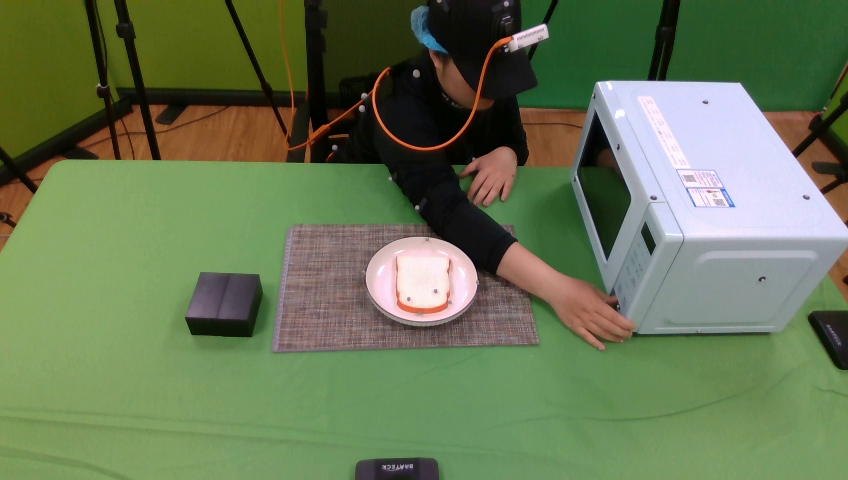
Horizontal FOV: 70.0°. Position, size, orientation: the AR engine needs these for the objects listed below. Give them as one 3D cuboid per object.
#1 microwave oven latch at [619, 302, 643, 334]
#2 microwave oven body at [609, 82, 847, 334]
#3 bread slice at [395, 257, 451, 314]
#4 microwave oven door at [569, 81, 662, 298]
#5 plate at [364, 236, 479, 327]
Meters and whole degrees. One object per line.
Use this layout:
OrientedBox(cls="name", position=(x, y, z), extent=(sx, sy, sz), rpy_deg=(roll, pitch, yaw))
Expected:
OrientedBox(cls="microwave oven latch", position=(0.362, 0.126, 1.067), extent=(0.030, 0.029, 0.078), rpy_deg=(7, 45, 4))
OrientedBox(cls="microwave oven body", position=(0.501, -0.069, 1.132), extent=(0.326, 0.261, 0.438), rpy_deg=(-1, 45, -3))
OrientedBox(cls="bread slice", position=(-0.001, 0.080, 1.109), extent=(0.105, 0.019, 0.130), rpy_deg=(1, 45, -2))
OrientedBox(cls="microwave oven door", position=(0.352, -0.103, 1.146), extent=(0.039, 0.245, 0.353), rpy_deg=(0, 46, -4))
OrientedBox(cls="plate", position=(-0.004, 0.078, 1.107), extent=(0.209, 0.038, 0.208), rpy_deg=(2, 46, -2))
